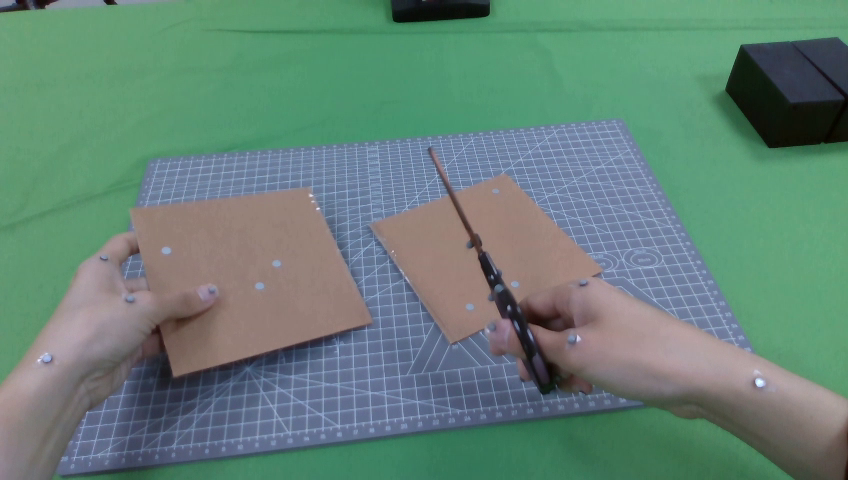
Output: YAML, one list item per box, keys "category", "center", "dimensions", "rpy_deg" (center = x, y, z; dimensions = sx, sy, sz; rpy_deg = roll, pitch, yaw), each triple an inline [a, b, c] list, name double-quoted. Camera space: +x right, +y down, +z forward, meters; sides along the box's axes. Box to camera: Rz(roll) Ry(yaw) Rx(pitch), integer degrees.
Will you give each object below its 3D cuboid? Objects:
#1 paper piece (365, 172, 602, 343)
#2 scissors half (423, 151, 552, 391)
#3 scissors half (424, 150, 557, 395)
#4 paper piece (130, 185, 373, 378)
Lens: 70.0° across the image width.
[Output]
- category: "paper piece"
  center: [0.044, 0.005, 0.478]
  dimensions: [0.138, 0.009, 0.134]
  rpy_deg: [-21, 54, -19]
- category: "scissors half"
  center: [0.032, 0.009, 0.364]
  dimensions: [0.013, 0.040, 0.173]
  rpy_deg: [-29, 59, 6]
- category: "scissors half"
  center: [0.037, 0.016, 0.382]
  dimensions: [0.013, 0.040, 0.174]
  rpy_deg: [-27, 77, 2]
- category: "paper piece"
  center: [-0.121, 0.020, 0.429]
  dimensions: [0.136, 0.004, 0.134]
  rpy_deg: [-11, 60, -30]
